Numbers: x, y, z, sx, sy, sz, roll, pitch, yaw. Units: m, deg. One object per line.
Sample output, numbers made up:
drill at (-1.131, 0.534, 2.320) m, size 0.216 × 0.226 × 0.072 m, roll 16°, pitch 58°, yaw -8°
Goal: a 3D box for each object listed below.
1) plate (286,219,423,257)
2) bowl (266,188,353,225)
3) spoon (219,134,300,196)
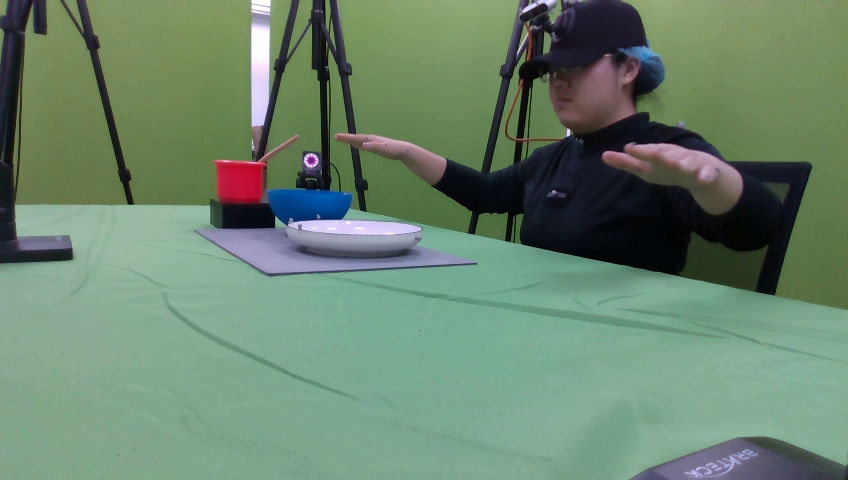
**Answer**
plate at (-0.105, -0.004, 0.923) m, size 0.208 × 0.039 × 0.207 m, roll 3°, pitch 7°, yaw 0°
bowl at (-0.204, -0.049, 1.080) m, size 0.151 × 0.077 × 0.151 m, roll 3°, pitch 7°, yaw 0°
spoon at (-0.317, -0.146, 1.171) m, size 0.194 × 0.022 × 0.041 m, roll -46°, pitch 21°, yaw -14°
